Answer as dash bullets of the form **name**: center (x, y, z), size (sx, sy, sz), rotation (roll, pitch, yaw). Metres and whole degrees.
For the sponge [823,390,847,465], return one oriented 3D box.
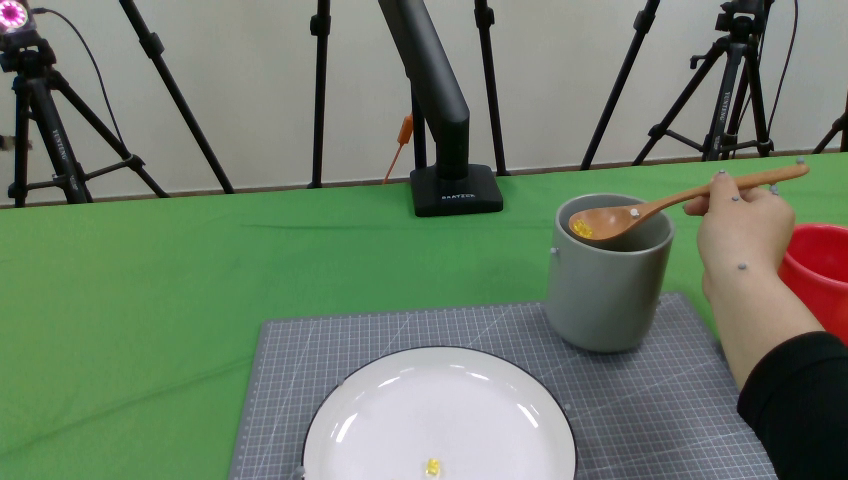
- **sponge**: center (0.402, 0.188, 0.409), size (0.118, 0.061, 0.204), rotation (-6, 34, -7)

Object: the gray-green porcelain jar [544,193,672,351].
- **gray-green porcelain jar**: center (0.171, 0.034, 0.581), size (0.106, 0.127, 0.105), rotation (-1, 35, 1)

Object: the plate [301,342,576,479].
- **plate**: center (0.011, 0.165, 0.474), size (0.208, 0.039, 0.205), rotation (-1, 34, 1)

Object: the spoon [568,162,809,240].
- **spoon**: center (0.219, -0.035, 0.514), size (0.193, 0.022, 0.041), rotation (-17, 38, 21)
